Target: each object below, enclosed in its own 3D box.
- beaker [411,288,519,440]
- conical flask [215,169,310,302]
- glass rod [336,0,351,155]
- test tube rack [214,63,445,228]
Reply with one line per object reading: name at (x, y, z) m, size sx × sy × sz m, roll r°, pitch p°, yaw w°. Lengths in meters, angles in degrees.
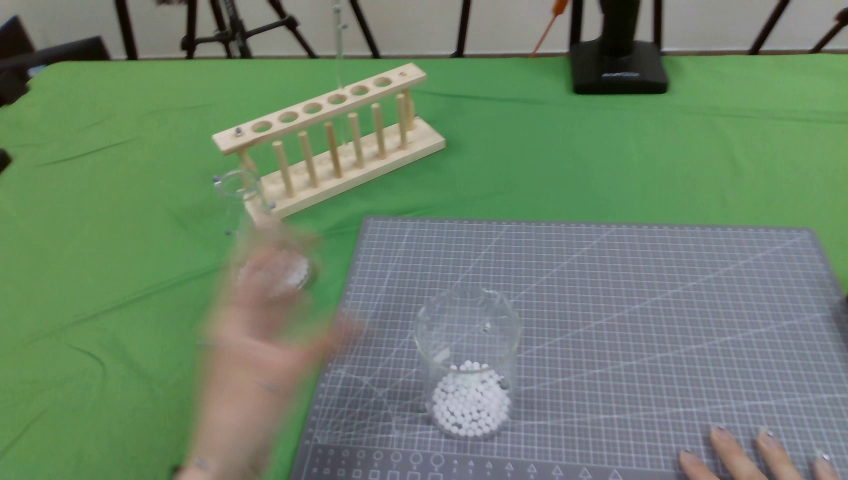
beaker at (0.033, 0.094, 0.449) m, size 0.073 × 0.101 × 0.084 m, roll 26°, pitch 52°, yaw 28°
conical flask at (-0.153, -0.007, 0.555) m, size 0.075 × 0.123 × 0.074 m, roll -3°, pitch 45°, yaw 3°
glass rod at (-0.086, -0.179, 0.653) m, size 0.008 × 0.201 × 0.008 m, roll 1°, pitch 38°, yaw 0°
test tube rack at (-0.097, -0.110, 0.679) m, size 0.242 × 0.086 × 0.066 m, roll -26°, pitch 48°, yaw -19°
